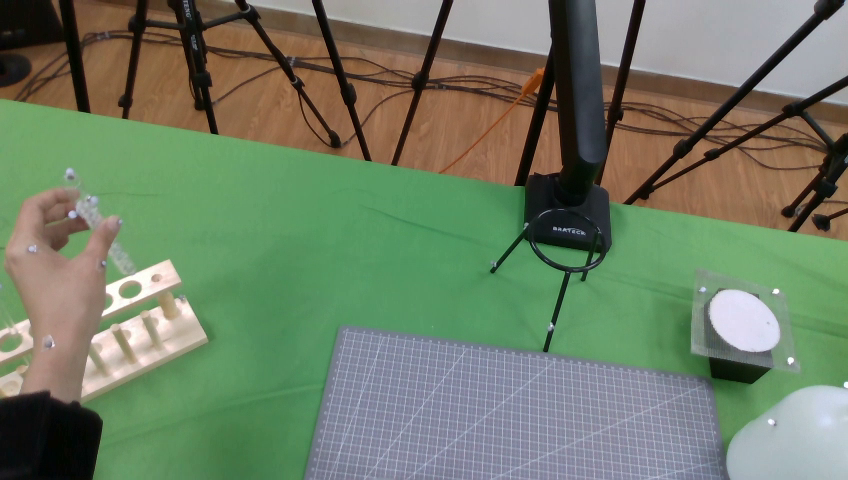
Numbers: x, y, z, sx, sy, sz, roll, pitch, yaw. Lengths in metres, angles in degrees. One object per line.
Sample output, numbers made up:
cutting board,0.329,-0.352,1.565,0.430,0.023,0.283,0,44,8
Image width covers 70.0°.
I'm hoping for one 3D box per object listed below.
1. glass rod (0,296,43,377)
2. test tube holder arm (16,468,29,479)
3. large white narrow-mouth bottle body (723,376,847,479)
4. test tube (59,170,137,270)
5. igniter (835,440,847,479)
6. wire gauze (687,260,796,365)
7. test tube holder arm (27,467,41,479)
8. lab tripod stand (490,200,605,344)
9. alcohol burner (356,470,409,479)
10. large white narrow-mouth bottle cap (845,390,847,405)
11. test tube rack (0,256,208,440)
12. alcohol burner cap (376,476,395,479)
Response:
glass rod,-0.393,0.074,0.572,0.008,0.201,0.008,6,44,-5
test tube holder arm,-0.347,0.241,0.518,0.010,0.015,0.087,-4,54,-21
large white narrow-mouth bottle body,0.383,0.192,0.594,0.102,0.196,0.101,3,53,-3
test tube,-0.275,-0.011,0.519,0.017,0.151,0.017,3,61,-6
igniter,0.451,0.336,0.601,0.057,0.025,0.274,20,53,-5
wire gauze,0.377,0.086,0.727,0.121,0.011,0.124,14,53,4
test tube holder arm,-0.330,0.276,0.496,0.013,0.015,0.176,-4,54,-21
lab tripod stand,0.154,0.031,0.724,0.148,0.132,0.147,4,55,-5
alcohol burner,-0.037,0.244,0.552,0.078,0.120,0.077,5,52,-6
large white narrow-mouth bottle cap,0.390,0.140,0.527,0.038,0.024,0.037,3,53,-4
test tube rack,-0.361,0.114,0.629,0.242,0.086,0.066,-27,61,-24
alcohol burner cap,-0.034,0.223,0.522,0.034,0.048,0.033,3,48,-3
